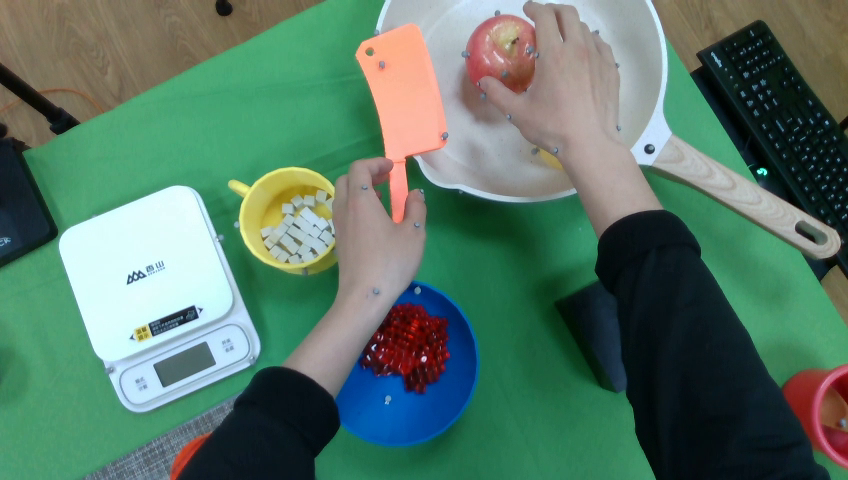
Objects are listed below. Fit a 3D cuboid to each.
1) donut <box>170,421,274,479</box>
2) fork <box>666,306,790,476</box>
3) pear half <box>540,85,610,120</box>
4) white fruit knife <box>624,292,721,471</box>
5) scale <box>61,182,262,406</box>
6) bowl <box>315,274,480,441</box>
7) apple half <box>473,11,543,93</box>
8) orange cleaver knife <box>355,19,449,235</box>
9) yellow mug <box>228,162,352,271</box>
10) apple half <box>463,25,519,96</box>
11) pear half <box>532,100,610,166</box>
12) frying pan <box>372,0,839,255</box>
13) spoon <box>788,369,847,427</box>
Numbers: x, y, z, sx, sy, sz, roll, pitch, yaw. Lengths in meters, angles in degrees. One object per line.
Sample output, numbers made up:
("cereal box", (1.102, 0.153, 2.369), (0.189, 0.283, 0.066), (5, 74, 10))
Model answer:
("donut", (-0.194, 0.224, 0.582), (0.099, 0.048, 0.099), (0, 84, 1))
("fork", (0.300, 0.151, 0.591), (0.028, 0.018, 0.208), (-37, 100, -7))
("pear half", (0.154, -0.140, 0.610), (0.070, 0.088, 0.031), (10, 85, 5))
("white fruit knife", (0.239, 0.139, 0.584), (0.016, 0.027, 0.208), (-30, 98, -4))
("scale", (-0.265, 0.052, 0.615), (0.149, 0.031, 0.200), (-23, 84, -3))
("bowl", (-0.024, 0.110, 0.586), (0.151, 0.077, 0.151), (0, 83, -1))
("apple half", (0.092, -0.198, 0.625), (0.053, 0.075, 0.080), (-37, 81, -9))
("orange cleaver knife", (-0.016, -0.111, 0.584), (0.077, 0.012, 0.210), (-9, 83, -1))
("yellow mug", (-0.140, -0.029, 0.609), (0.130, 0.064, 0.100), (29, 84, 5))
("apple half", (0.060, -0.174, 0.620), (0.033, 0.081, 0.081), (-36, 83, -11))
("pear half", (0.145, -0.106, 0.596), (0.076, 0.110, 0.056), (9, 82, 5))
("frying pan", (0.178, -0.123, 0.606), (0.486, 0.103, 0.306), (34, 84, 12))
("spoon", (0.418, 0.187, 0.546), (0.041, 0.022, 0.191), (-33, 40, -5))
